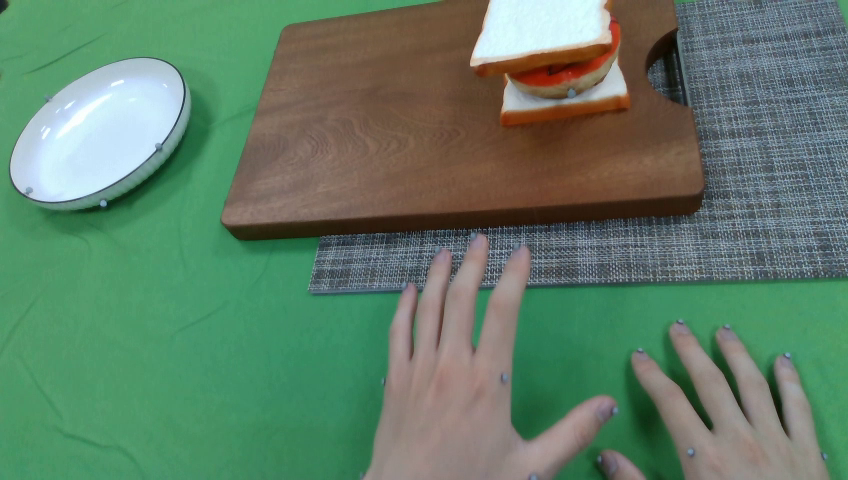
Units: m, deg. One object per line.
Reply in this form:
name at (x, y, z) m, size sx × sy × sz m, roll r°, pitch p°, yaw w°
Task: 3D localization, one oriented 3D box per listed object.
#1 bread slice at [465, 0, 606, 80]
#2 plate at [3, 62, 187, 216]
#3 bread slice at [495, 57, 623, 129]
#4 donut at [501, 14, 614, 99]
bread slice at (0.093, -0.183, 0.485) m, size 0.106 × 0.018 × 0.133 m, roll -5°, pitch 54°, yaw 24°
plate at (-0.349, -0.108, 0.658) m, size 0.209 × 0.038 × 0.207 m, roll -8°, pitch 56°, yaw 12°
bread slice at (0.112, -0.157, 0.534) m, size 0.105 × 0.019 × 0.130 m, roll -6°, pitch 57°, yaw 11°
donut at (0.106, -0.159, 0.501) m, size 0.099 × 0.049 × 0.098 m, roll -8°, pitch 56°, yaw 13°
